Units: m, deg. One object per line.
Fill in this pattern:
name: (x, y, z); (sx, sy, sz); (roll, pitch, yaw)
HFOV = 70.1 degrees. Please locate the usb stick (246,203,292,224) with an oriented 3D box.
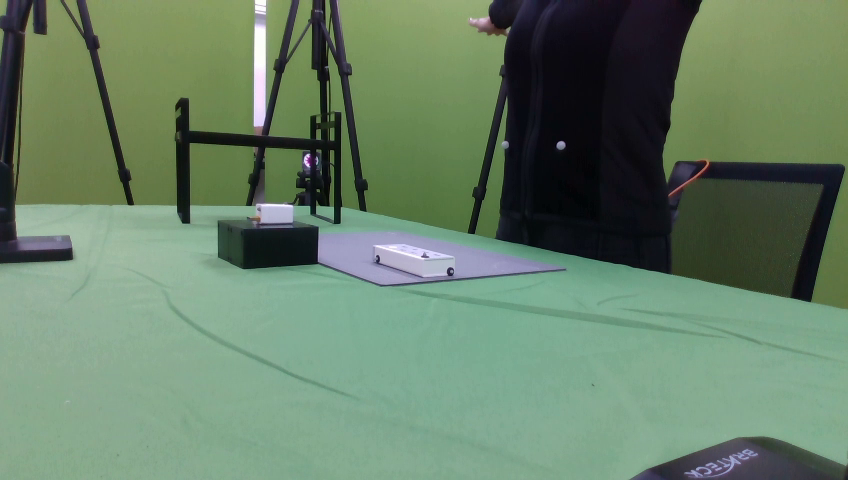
usb stick: (-0.207, -0.035, 0.802); (0.059, 0.027, 0.021); (-6, 14, -36)

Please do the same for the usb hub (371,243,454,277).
usb hub: (-0.018, 0.024, 0.777); (0.050, 0.025, 0.124); (-3, 9, -34)
